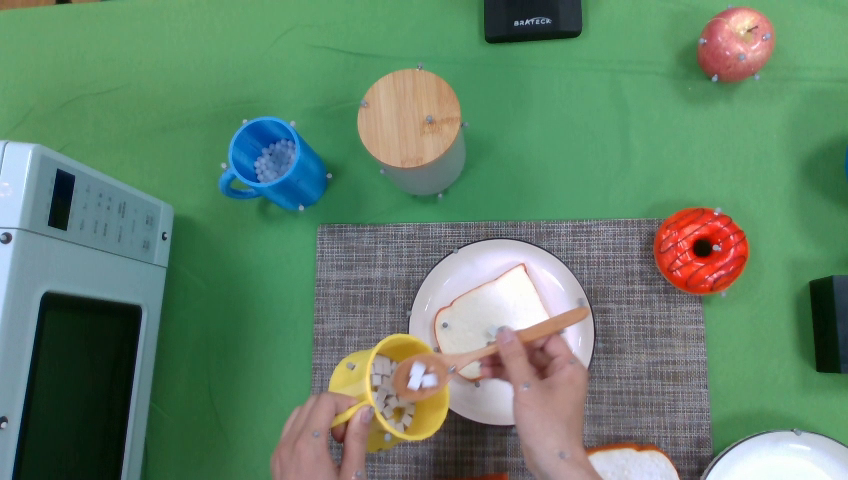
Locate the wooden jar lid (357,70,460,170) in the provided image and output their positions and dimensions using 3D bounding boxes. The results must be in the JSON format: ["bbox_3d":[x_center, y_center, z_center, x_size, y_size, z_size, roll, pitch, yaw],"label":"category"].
[{"bbox_3d":[-0.016,-0.123,0.631,0.108,0.021,0.108,-2,78,7],"label":"wooden jar lid"}]

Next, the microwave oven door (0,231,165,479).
[{"bbox_3d":[-0.359,0.185,0.604,0.039,0.245,0.354,2,80,8],"label":"microwave oven door"}]

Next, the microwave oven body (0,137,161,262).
[{"bbox_3d":[-0.500,0.137,0.635,0.325,0.261,0.440,3,81,7],"label":"microwave oven body"}]

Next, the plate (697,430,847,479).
[{"bbox_3d":[0.373,0.300,0.618,0.209,0.038,0.208,-1,80,7],"label":"plate"}]

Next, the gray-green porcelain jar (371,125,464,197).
[{"bbox_3d":[-0.008,-0.111,0.692,0.106,0.127,0.105,-1,79,7],"label":"gray-green porcelain jar"}]

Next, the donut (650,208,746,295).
[{"bbox_3d":[0.301,0.012,0.671,0.099,0.048,0.098,-1,81,7],"label":"donut"}]

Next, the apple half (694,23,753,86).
[{"bbox_3d":[0.331,-0.202,0.692,0.033,0.081,0.081,-33,77,-4],"label":"apple half"}]

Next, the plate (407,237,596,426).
[{"bbox_3d":[0.086,0.101,0.685,0.207,0.039,0.207,-1,80,7],"label":"plate"}]

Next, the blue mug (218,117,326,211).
[{"bbox_3d":[-0.185,-0.080,0.718,0.116,0.106,0.082,-26,77,2],"label":"blue mug"}]

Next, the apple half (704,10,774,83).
[{"bbox_3d":[0.364,-0.224,0.694,0.053,0.075,0.080,-32,73,-5],"label":"apple half"}]

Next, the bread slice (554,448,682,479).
[{"bbox_3d":[0.206,0.271,0.617,0.135,0.018,0.106,-5,76,-14],"label":"bread slice"}]

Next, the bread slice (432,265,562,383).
[{"bbox_3d":[0.076,0.103,0.686,0.131,0.019,0.104,-27,78,1],"label":"bread slice"}]

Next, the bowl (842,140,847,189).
[{"bbox_3d":[0.516,-0.074,0.646,0.151,0.077,0.151,-1,80,7],"label":"bowl"}]

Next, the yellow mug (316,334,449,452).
[{"bbox_3d":[-0.044,0.151,0.572,0.064,0.131,0.099,-31,79,43],"label":"yellow mug"}]

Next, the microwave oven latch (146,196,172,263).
[{"bbox_3d":[-0.329,-0.013,0.739,0.030,0.029,0.079,5,81,7],"label":"microwave oven latch"}]

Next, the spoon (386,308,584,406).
[{"bbox_3d":[0.056,0.104,0.553,0.193,0.022,0.041,-23,80,10],"label":"spoon"}]
